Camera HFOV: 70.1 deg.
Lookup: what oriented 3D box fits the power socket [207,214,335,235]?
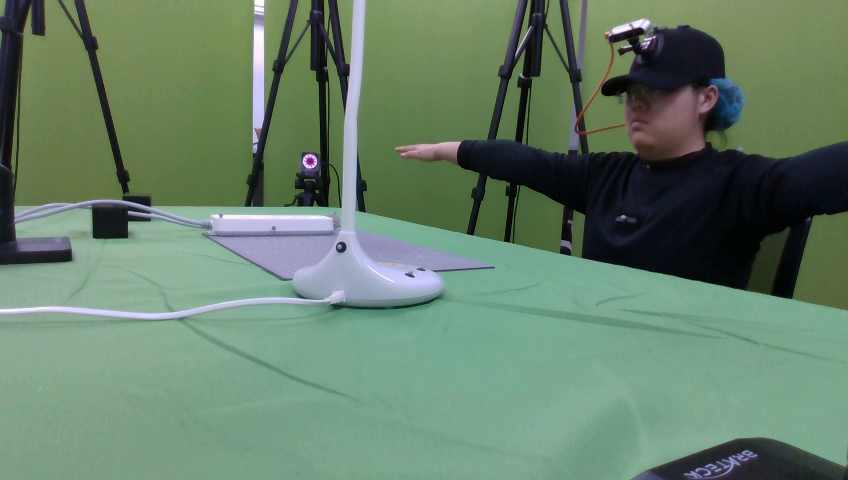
[{"bbox_3d":[-0.271,-0.029,1.086,0.228,0.032,0.072,-1,8,-28],"label":"power socket"}]

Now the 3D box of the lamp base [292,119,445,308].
[{"bbox_3d":[-0.056,-0.030,0.616,0.160,0.180,0.179,4,10,8],"label":"lamp base"}]

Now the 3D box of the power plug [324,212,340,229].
[{"bbox_3d":[-0.200,-0.027,1.194,0.072,0.035,0.052,-35,12,-12],"label":"power plug"}]
